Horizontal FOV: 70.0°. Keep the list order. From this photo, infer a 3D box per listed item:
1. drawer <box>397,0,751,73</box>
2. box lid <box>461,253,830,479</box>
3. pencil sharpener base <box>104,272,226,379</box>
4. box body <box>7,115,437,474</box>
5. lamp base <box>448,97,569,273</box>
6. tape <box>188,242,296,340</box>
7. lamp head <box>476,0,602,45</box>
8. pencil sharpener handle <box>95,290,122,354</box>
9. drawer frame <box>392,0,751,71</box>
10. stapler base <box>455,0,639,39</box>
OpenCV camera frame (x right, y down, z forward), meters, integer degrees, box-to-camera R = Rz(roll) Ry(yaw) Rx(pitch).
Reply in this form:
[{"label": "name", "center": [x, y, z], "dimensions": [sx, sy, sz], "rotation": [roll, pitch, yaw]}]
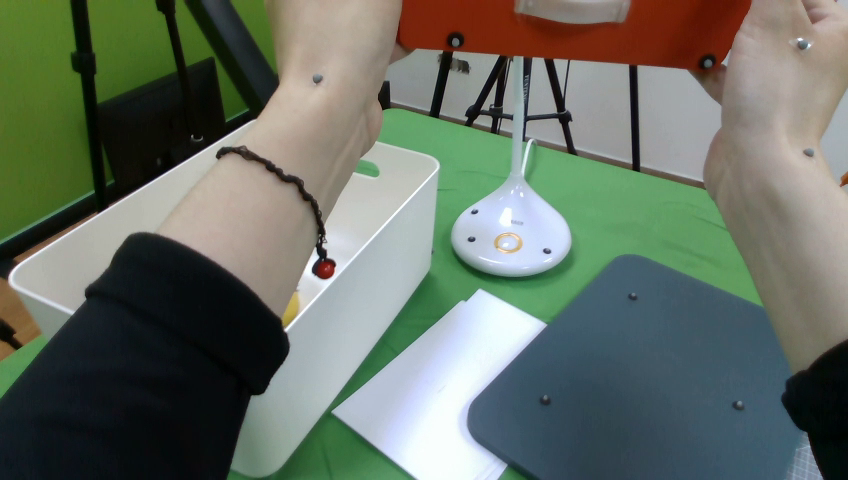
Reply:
[{"label": "drawer", "center": [0.086, -0.208, 0.399], "dimensions": [0.194, 0.074, 0.209], "rotation": [4, 52, -1]}, {"label": "box lid", "center": [0.240, 0.145, 0.629], "dimensions": [0.261, 0.015, 0.371], "rotation": [27, 44, 31]}, {"label": "pencil sharpener base", "center": [-0.250, 0.092, 0.589], "dimensions": [0.076, 0.108, 0.061], "rotation": [11, 39, 14]}, {"label": "box body", "center": [-0.169, 0.030, 0.639], "dimensions": [0.253, 0.162, 0.362], "rotation": [17, 40, 19]}, {"label": "lamp base", "center": [0.110, -0.078, 0.772], "dimensions": [0.160, 0.182, 0.177], "rotation": [1, 35, 5]}, {"label": "tape", "center": [-0.203, 0.054, 0.688], "dimensions": [0.117, 0.053, 0.115], "rotation": [2, 37, -1]}, {"label": "lamp head", "center": [0.094, -0.253, 0.553], "dimensions": [0.112, 0.122, 0.112], "rotation": [-14, -4, -1]}, {"label": "pencil sharpener handle", "center": [-0.301, 0.076, 0.586], "dimensions": [0.030, 0.068, 0.036], "rotation": [11, 8, 14]}, {"label": "drawer frame", "center": [0.086, -0.213, 0.400], "dimensions": [0.202, 0.083, 0.211], "rotation": [3, 53, -2]}, {"label": "stapler base", "center": [0.074, -0.161, 0.387], "dimensions": [0.130, 0.024, 0.041], "rotation": [16, 51, 9]}]
